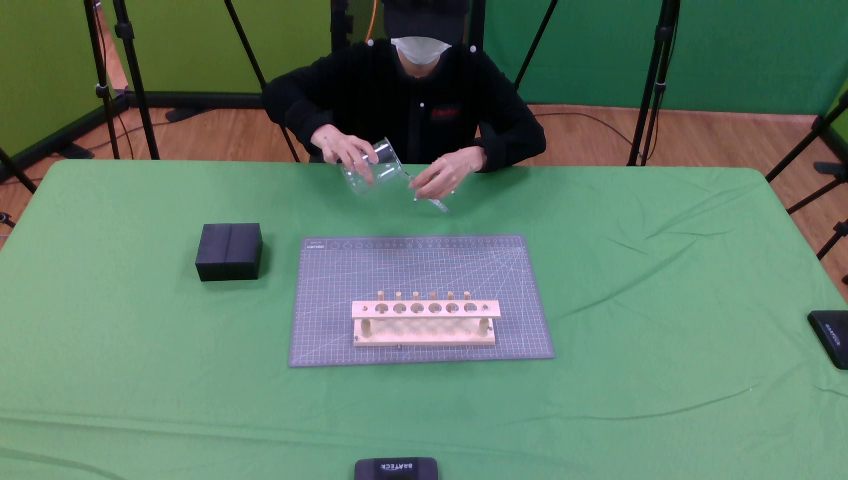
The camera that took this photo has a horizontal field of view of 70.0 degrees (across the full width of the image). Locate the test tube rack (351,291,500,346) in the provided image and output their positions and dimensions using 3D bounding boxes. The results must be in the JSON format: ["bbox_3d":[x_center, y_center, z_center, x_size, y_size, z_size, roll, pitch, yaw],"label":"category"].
[{"bbox_3d":[0.001,0.129,1.026,0.242,0.085,0.066,0,46,-4],"label":"test tube rack"}]

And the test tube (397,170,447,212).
[{"bbox_3d":[-0.001,-0.093,1.185,0.017,0.151,0.017,-22,51,30],"label":"test tube"}]

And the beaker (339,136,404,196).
[{"bbox_3d":[-0.096,-0.131,1.107,0.100,0.084,0.073,-29,47,1],"label":"beaker"}]
